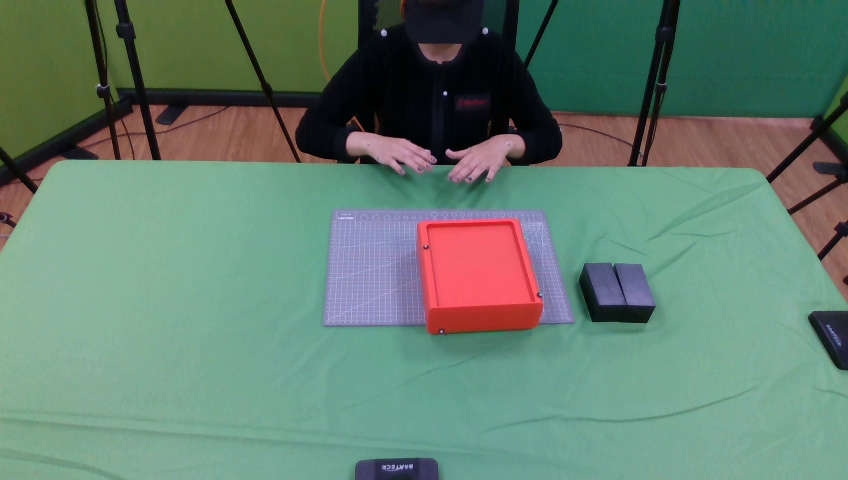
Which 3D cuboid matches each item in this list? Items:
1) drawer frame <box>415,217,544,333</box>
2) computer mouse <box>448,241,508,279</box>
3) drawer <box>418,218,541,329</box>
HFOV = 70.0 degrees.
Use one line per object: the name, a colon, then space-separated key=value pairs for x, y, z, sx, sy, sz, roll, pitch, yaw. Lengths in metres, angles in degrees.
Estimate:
drawer frame: x=0.094 y=0.058 z=1.104 sx=0.202 sy=0.083 sz=0.212 roll=-2 pitch=47 yaw=-7
computer mouse: x=0.102 y=0.037 z=1.130 sx=0.117 sy=0.041 sz=0.062 roll=11 pitch=43 yaw=-13
drawer: x=0.094 y=0.057 z=1.107 sx=0.195 sy=0.073 sz=0.210 roll=-1 pitch=47 yaw=-6
